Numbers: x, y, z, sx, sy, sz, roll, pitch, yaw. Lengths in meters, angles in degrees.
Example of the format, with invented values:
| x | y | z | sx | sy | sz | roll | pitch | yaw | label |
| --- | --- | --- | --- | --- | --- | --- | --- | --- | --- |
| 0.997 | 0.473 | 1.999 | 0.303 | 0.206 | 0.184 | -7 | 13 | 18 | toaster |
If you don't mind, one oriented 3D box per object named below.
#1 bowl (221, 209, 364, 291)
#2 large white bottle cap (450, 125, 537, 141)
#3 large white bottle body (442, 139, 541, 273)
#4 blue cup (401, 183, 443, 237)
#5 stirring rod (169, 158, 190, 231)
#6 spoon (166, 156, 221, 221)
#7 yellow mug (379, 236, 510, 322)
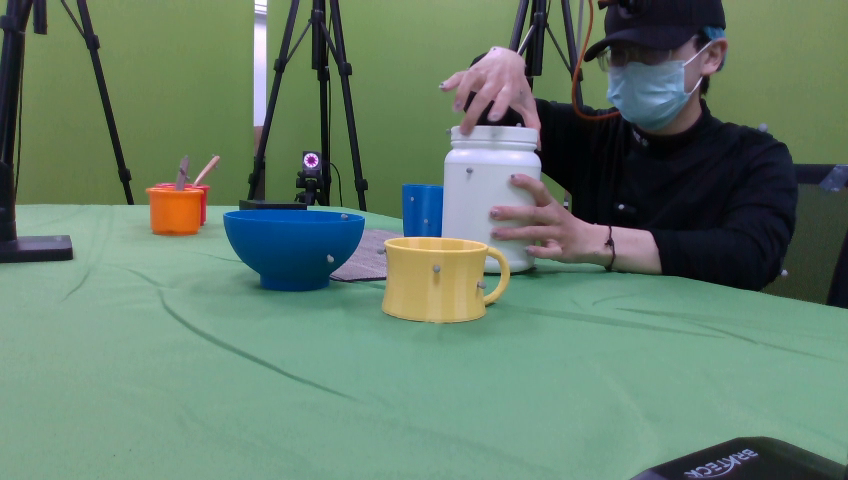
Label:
| x | y | z | sx | sy | sz | roll | pitch | yaw | label |
| --- | --- | --- | --- | --- | --- | --- | --- | --- | --- |
| -0.142 | 0.011 | 0.660 | 0.151 | 0.077 | 0.151 | 2 | 7 | 0 | bowl |
| 0.092 | -0.140 | 0.802 | 0.115 | 0.018 | 0.115 | 2 | 8 | 0 | large white bottle cap |
| 0.089 | -0.056 | 0.813 | 0.131 | 0.184 | 0.130 | 2 | 7 | 0 | large white bottle body |
| 0.002 | -0.038 | 0.966 | 0.093 | 0.100 | 0.092 | 4 | 9 | 0 | blue cup |
| -0.427 | -0.082 | 1.059 | 0.014 | 0.006 | 0.175 | 2 | 49 | -13 | stirring rod |
| -0.447 | -0.104 | 1.192 | 0.041 | 0.022 | 0.193 | 7 | 52 | 14 | spoon |
| 0.024 | 0.034 | 0.575 | 0.131 | 0.064 | 0.099 | 1 | 7 | -22 | yellow mug |
